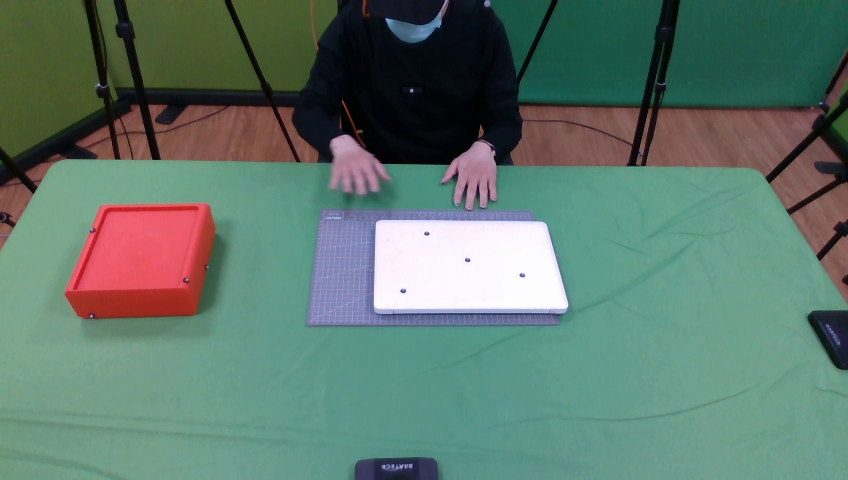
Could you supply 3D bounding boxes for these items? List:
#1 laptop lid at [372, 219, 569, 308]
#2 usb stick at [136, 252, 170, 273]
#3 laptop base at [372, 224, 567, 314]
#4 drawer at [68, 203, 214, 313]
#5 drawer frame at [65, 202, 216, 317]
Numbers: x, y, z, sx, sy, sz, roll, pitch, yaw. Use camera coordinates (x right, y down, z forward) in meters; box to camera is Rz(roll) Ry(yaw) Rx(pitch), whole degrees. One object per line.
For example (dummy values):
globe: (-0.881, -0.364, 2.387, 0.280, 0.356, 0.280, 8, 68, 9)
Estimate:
laptop lid: (0.081, 0.039, 1.152, 0.357, 0.013, 0.240, 2, 44, -3)
usb stick: (-0.498, 0.040, 1.106, 0.059, 0.027, 0.021, 11, 46, 6)
laptop base: (0.080, 0.049, 1.159, 0.355, 0.023, 0.234, 0, 43, -4)
drawer: (-0.499, 0.028, 1.091, 0.195, 0.073, 0.210, -1, 47, -6)
drawer frame: (-0.497, 0.029, 1.090, 0.202, 0.083, 0.212, -1, 47, -6)
